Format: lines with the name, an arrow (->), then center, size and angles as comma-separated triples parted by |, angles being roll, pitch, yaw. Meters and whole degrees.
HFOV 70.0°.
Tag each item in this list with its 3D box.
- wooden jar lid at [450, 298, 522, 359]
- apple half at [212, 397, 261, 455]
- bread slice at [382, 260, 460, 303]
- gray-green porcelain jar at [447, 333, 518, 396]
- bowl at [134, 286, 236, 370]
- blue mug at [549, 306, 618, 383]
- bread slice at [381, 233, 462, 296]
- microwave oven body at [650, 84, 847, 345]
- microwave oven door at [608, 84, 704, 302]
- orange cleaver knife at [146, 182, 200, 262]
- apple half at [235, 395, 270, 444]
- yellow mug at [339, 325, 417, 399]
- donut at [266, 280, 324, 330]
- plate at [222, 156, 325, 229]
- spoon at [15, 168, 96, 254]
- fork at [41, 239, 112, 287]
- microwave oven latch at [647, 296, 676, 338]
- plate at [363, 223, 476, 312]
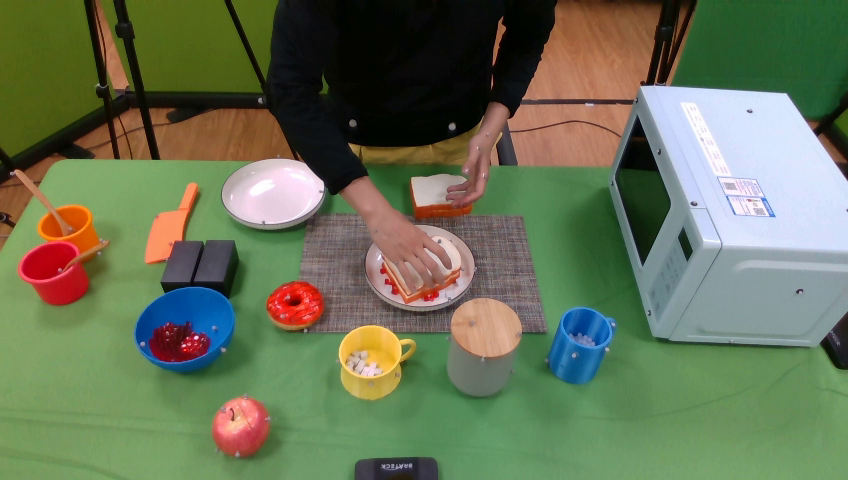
wooden jar lid -> 0.093, 0.135, 0.914 | 0.108, 0.021, 0.107 | 2, 49, -3
apple half -> -0.276, 0.277, 0.877 | 0.053, 0.075, 0.080 | -29, 58, -21
bread slice -> 0.000, 0.054, 1.129 | 0.131, 0.019, 0.104 | -21, 52, -21
gray-green porcelain jar -> 0.091, 0.178, 0.960 | 0.106, 0.127, 0.105 | 2, 46, -2
bowl -> -0.377, 0.156, 0.981 | 0.151, 0.077, 0.150 | 2, 46, -2
blue mug -> 0.269, 0.167, 0.997 | 0.116, 0.106, 0.082 | -19, 50, -21
bread slice -> 0.001, 0.038, 1.108 | 0.134, 0.018, 0.106 | -25, 56, -21
microwave oven body -> 0.569, -0.054, 1.116 | 0.326, 0.261, 0.439 | 2, 46, -1
microwave oven door -> 0.424, -0.096, 1.138 | 0.039, 0.245, 0.353 | 2, 47, -1
orange cleaver knife -> -0.494, -0.039, 1.199 | 0.077, 0.012, 0.210 | -3, 48, 2
apple half -> -0.245, 0.260, 0.893 | 0.033, 0.082, 0.081 | -29, 55, -22
yellow mug -> -0.072, 0.191, 0.978 | 0.131, 0.064, 0.099 | -17, 49, -20
donut -> -0.223, 0.113, 1.051 | 0.099, 0.048, 0.098 | 2, 45, -2
plate -> -0.308, -0.095, 1.251 | 0.209, 0.038, 0.208 | 2, 47, -2
spoon -> -0.675, -0.053, 1.109 | 0.021, 0.194, 0.041 | -15, 23, 51
fork -> -0.591, 0.040, 1.028 | 0.207, 0.019, 0.028 | -27, 36, 29
microwave oven latch -> 0.413, 0.133, 1.060 | 0.030, 0.029, 0.078 | 4, 46, 1
plate -> -0.009, 0.054, 1.127 | 0.208, 0.039, 0.206 | 2, 47, -2
